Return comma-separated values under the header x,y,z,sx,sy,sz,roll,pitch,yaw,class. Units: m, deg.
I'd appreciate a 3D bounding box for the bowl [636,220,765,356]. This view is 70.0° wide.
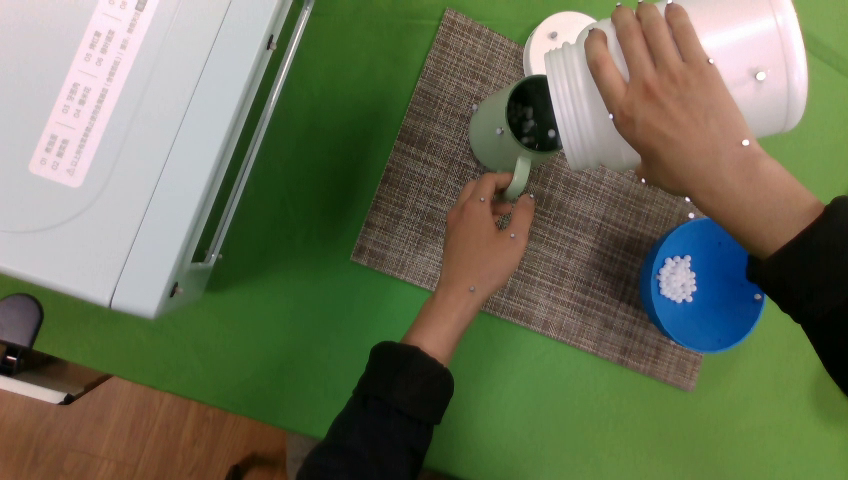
x,y,z,sx,sy,sz,roll,pitch,yaw,class
0.303,0.054,0.702,0.152,0.076,0.151,1,88,-14,bowl

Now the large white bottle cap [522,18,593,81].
x,y,z,sx,sy,sz,roll,pitch,yaw,class
0.169,-0.200,0.704,0.115,0.018,0.114,2,84,-16,large white bottle cap

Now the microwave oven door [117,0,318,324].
x,y,z,sx,sy,sz,roll,pitch,yaw,class
-0.146,-0.113,0.491,0.039,0.243,0.355,20,83,-12,microwave oven door

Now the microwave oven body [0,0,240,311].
x,y,z,sx,sy,sz,roll,pitch,yaw,class
-0.267,-0.203,0.467,0.327,0.259,0.440,21,84,-14,microwave oven body

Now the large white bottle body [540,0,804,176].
x,y,z,sx,sy,sz,roll,pitch,yaw,class
0.202,-0.130,0.518,0.184,0.131,0.130,-13,91,18,large white bottle body

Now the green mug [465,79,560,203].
x,y,z,sx,sy,sz,roll,pitch,yaw,class
0.096,-0.100,0.639,0.093,0.104,0.125,14,85,-14,green mug
